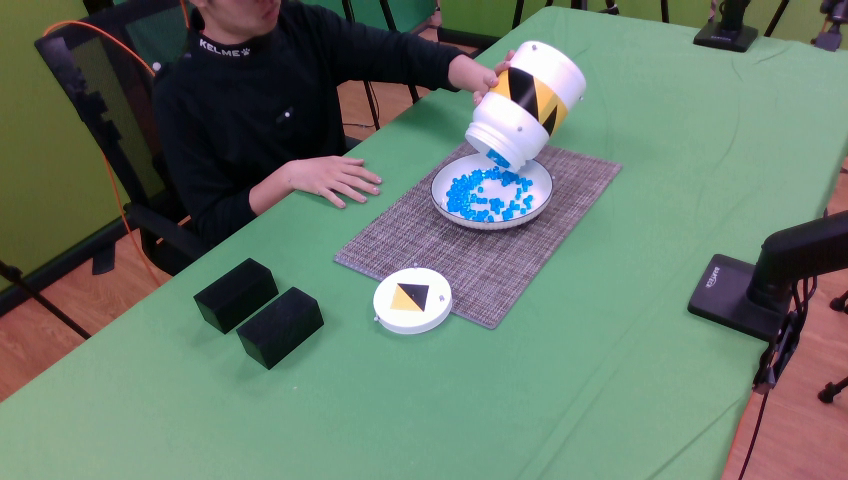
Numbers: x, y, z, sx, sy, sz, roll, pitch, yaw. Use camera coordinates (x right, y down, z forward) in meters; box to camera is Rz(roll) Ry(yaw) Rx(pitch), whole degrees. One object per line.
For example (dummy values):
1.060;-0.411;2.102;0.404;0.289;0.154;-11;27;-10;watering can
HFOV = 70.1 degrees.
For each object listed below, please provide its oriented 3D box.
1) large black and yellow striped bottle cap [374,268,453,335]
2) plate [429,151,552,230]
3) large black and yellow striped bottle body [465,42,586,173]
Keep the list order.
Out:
-0.015;0.087;0.871;0.115;0.019;0.114;-6;43;6;large black and yellow striped bottle cap
0.113;-0.082;1.032;0.207;0.039;0.206;-4;41;4;plate
0.164;-0.216;1.003;0.129;0.132;0.184;37;90;39;large black and yellow striped bottle body
